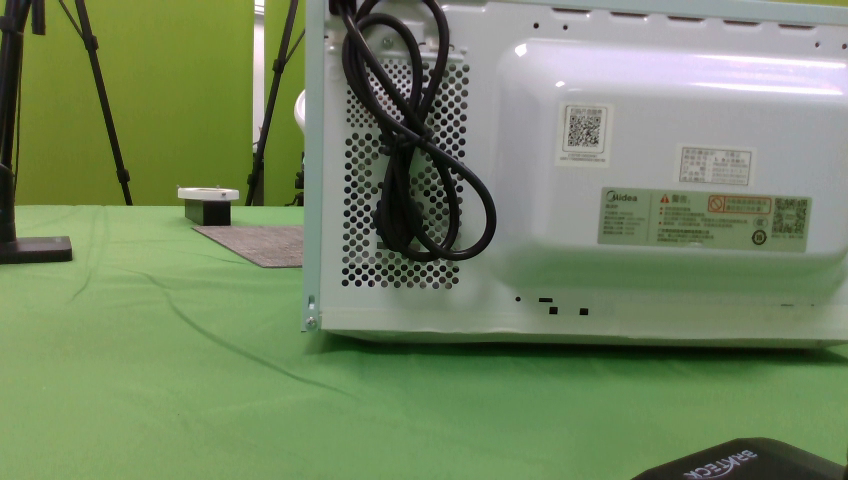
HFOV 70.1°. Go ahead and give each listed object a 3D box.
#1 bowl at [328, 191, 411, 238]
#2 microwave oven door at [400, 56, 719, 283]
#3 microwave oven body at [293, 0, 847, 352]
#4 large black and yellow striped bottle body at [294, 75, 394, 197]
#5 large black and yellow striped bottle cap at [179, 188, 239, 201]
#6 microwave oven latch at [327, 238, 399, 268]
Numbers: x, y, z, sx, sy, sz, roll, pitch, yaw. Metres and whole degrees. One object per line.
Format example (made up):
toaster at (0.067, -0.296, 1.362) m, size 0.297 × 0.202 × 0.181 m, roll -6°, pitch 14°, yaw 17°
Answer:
bowl at (-0.100, -0.046, 1.104) m, size 0.151 × 0.077 × 0.151 m, roll 3°, pitch 8°, yaw 0°
microwave oven door at (0.155, -0.077, 0.698) m, size 0.356 × 0.243 × 0.039 m, roll 2°, pitch 8°, yaw -5°
microwave oven body at (0.122, -0.055, 0.550) m, size 0.442 × 0.260 × 0.325 m, roll 3°, pitch 7°, yaw -5°
large black and yellow striped bottle body at (-0.126, -0.169, 1.021) m, size 0.130 × 0.130 × 0.184 m, roll 5°, pitch -32°, yaw 18°
large black and yellow striped bottle cap at (-0.434, -0.093, 1.226) m, size 0.115 × 0.019 × 0.115 m, roll 3°, pitch 9°, yaw 0°
microwave oven latch at (-0.069, 0.015, 0.694) m, size 0.079 × 0.029 × 0.030 m, roll 3°, pitch 7°, yaw -3°
